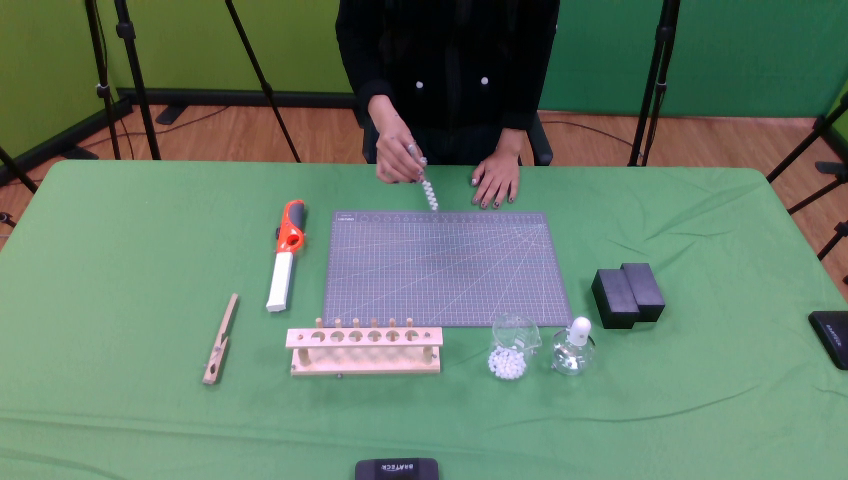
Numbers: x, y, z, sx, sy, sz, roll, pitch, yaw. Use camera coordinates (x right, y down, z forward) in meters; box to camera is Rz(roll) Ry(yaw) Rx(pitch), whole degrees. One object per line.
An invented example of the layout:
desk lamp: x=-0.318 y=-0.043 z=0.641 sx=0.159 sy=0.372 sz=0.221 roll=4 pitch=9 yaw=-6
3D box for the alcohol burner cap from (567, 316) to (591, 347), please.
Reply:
alcohol burner cap: x=0.249 y=0.143 z=0.965 sx=0.034 sy=0.048 sz=0.033 roll=4 pitch=40 yaw=-3

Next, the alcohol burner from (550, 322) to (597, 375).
alcohol burner: x=0.248 y=0.168 z=0.991 sx=0.078 sy=0.119 sz=0.077 roll=2 pitch=48 yaw=-2

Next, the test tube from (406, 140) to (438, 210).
test tube: x=-0.002 y=-0.113 z=1.081 sx=0.017 sy=0.151 sz=0.017 roll=-13 pitch=38 yaw=11

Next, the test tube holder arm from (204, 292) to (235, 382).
test tube holder arm: x=-0.343 y=0.159 z=1.020 sx=0.013 sy=0.015 sz=0.177 roll=27 pitch=39 yaw=-27

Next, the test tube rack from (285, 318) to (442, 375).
test tube rack: x=-0.095 y=0.168 z=0.986 sx=0.242 sy=0.085 sz=0.066 roll=0 pitch=46 yaw=-4

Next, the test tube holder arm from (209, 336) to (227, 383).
test tube holder arm: x=-0.338 y=0.193 z=0.991 sx=0.010 sy=0.015 sz=0.087 roll=29 pitch=38 yaw=-26

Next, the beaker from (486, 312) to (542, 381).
beaker: x=0.144 y=0.177 z=0.985 sx=0.084 sy=0.101 sz=0.074 roll=22 pitch=49 yaw=16

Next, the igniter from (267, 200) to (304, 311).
igniter: x=-0.263 y=0.020 z=1.156 sx=0.057 sy=0.025 sz=0.274 roll=-6 pitch=46 yaw=4
